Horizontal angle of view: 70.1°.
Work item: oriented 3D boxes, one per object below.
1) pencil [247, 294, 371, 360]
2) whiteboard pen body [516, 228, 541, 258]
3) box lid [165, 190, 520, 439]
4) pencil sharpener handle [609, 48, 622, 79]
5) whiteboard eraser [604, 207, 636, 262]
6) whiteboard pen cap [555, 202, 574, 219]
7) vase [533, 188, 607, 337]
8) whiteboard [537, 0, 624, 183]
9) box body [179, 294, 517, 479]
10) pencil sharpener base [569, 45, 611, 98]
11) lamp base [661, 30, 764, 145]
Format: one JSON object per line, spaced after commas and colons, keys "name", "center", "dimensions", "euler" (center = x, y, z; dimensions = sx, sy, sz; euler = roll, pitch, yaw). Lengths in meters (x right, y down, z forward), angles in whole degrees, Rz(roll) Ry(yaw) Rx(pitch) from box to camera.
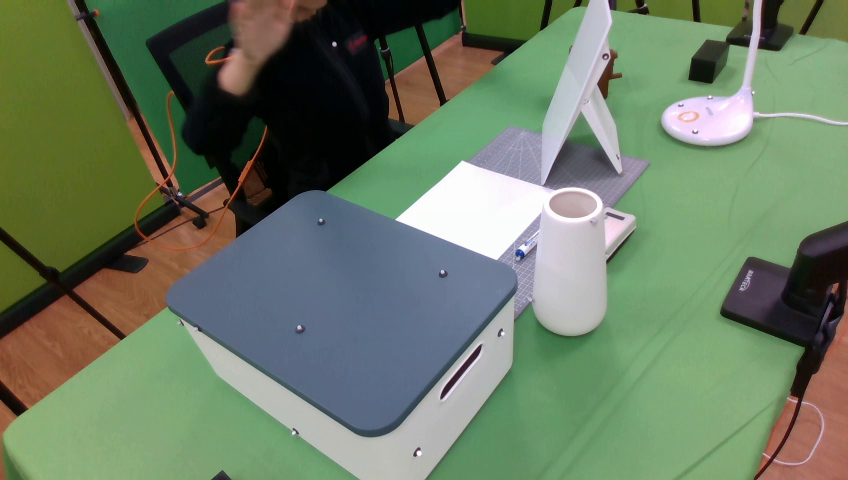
{"name": "pencil", "center": [-0.163, 0.124, 0.867], "dimensions": [0.194, 0.012, 0.012], "euler": [-26, 43, -15]}
{"name": "whiteboard pen body", "center": [0.192, -0.015, 0.964], "dimensions": [0.017, 0.017, 0.141], "euler": [26, 51, 34]}
{"name": "box lid", "center": [-0.104, 0.056, 0.711], "dimensions": [0.368, 0.015, 0.264], "euler": [22, 49, 32]}
{"name": "pencil sharpener handle", "center": [0.395, -0.369, 1.254], "dimensions": [0.031, 0.068, 0.036], "euler": [-10, 32, -1]}
{"name": "whiteboard eraser", "center": [0.272, -0.003, 0.919], "dimensions": [0.055, 0.042, 0.113], "euler": [27, 51, 32]}
{"name": "whiteboard pen cap", "center": [0.230, -0.048, 0.994], "dimensions": [0.018, 0.018, 0.033], "euler": [26, 54, 34]}
{"name": "vase", "center": [0.187, 0.033, 0.771], "dimensions": [0.098, 0.201, 0.097], "euler": [-6, 41, 6]}
{"name": "whiteboard", "center": [0.316, -0.256, 1.047], "dimensions": [0.144, 0.306, 0.216], "euler": [15, 42, -1]}
{"name": "box body", "center": [-0.093, 0.113, 0.757], "dimensions": [0.361, 0.161, 0.255], "euler": [22, 49, 32]}
{"name": "pencil sharpener base", "center": [0.346, -0.352, 1.263], "dimensions": [0.077, 0.107, 0.061], "euler": [-10, 40, -1]}
{"name": "lamp base", "center": [0.535, -0.287, 1.096], "dimensions": [0.179, 0.181, 0.159], "euler": [-10, 40, -4]}
